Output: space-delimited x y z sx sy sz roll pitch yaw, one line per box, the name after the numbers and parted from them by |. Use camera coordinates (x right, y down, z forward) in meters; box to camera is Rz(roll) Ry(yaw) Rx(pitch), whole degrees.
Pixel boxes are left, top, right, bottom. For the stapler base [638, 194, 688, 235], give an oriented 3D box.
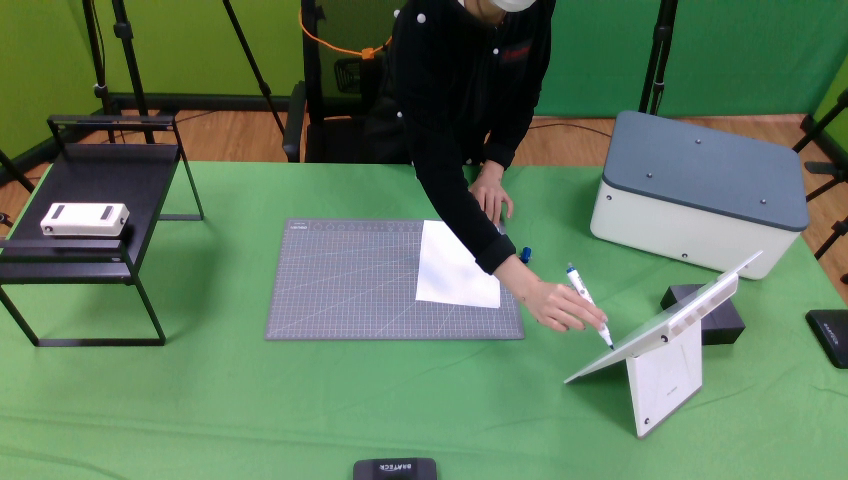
0.509 -0.059 1.278 0.041 0.024 0.129 -1 40 -30 | stapler base

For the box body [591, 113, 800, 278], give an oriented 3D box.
0.539 -0.092 1.229 0.363 0.161 0.253 16 47 11 | box body

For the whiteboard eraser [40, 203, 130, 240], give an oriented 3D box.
-0.513 -0.028 0.922 0.113 0.042 0.055 1 48 -3 | whiteboard eraser

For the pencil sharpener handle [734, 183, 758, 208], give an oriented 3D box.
0.663 -0.100 1.259 0.036 0.068 0.030 10 46 6 | pencil sharpener handle

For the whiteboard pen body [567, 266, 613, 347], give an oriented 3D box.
0.260 0.105 0.941 0.017 0.017 0.140 -23 82 -24 | whiteboard pen body

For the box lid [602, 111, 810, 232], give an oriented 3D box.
0.545 -0.143 1.176 0.371 0.015 0.262 15 47 11 | box lid

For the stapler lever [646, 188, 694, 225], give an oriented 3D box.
0.515 -0.078 1.265 0.027 0.040 0.117 -1 41 -30 | stapler lever

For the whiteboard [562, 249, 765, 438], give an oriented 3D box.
0.386 0.175 0.905 0.217 0.306 0.143 -26 72 -26 | whiteboard

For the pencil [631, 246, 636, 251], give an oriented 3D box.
0.431 -0.060 1.284 0.012 0.012 0.193 3 58 -1 | pencil

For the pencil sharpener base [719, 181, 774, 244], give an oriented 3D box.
0.652 -0.056 1.232 0.061 0.107 0.076 11 46 6 | pencil sharpener base

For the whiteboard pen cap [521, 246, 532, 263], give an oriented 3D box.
0.200 0.029 1.188 0.018 0.018 0.033 15 48 10 | whiteboard pen cap
